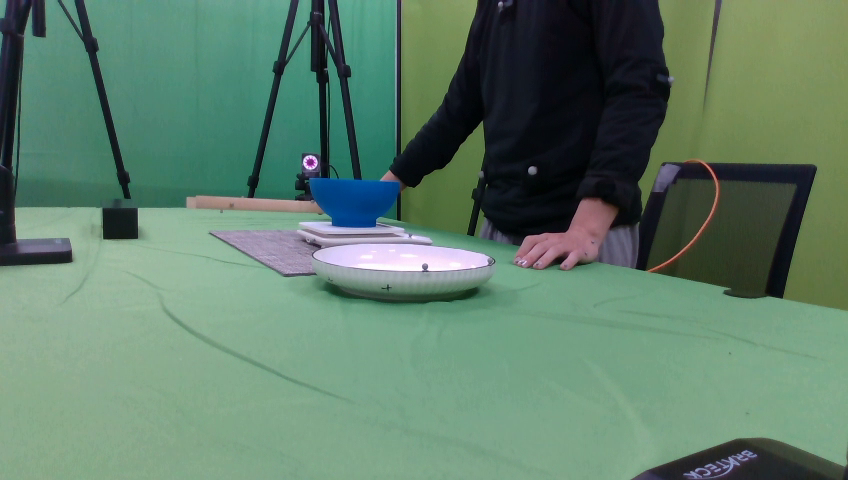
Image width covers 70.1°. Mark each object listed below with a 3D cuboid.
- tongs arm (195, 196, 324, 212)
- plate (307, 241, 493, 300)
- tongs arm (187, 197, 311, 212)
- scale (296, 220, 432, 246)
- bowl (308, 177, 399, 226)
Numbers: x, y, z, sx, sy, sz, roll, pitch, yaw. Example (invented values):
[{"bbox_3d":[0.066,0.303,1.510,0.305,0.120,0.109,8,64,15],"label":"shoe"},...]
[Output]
[{"bbox_3d":[-0.297,-0.076,1.316,0.390,0.027,0.028,0,-3,-36],"label":"tongs arm"},{"bbox_3d":[-0.027,0.034,0.684,0.208,0.039,0.207,2,7,0],"label":"plate"},{"bbox_3d":[-0.333,-0.079,1.382,0.387,0.026,0.050,1,0,-25],"label":"tongs arm"},{"bbox_3d":[-0.101,-0.013,1.017,0.202,0.031,0.148,-1,9,-30],"label":"scale"},{"bbox_3d":[-0.117,-0.064,1.001,0.151,0.077,0.151,2,6,0],"label":"bowl"}]
